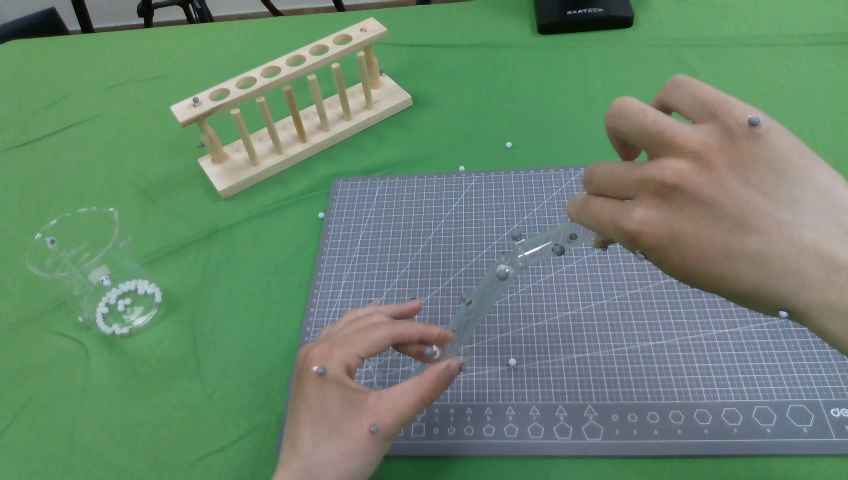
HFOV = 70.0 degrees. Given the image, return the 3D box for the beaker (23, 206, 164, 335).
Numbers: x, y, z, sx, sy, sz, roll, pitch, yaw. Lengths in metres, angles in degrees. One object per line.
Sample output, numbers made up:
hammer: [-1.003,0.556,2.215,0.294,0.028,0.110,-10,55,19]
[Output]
beaker: [-0.278,0.029,0.527,0.073,0.101,0.083,20,55,22]

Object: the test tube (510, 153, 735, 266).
test tube: [0.120,-0.019,0.360,0.150,0.017,0.017,-23,51,-9]

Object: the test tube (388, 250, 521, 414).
test tube: [0.015,0.064,0.387,0.017,0.151,0.017,25,30,-15]

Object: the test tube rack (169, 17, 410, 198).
test tube rack: [-0.138,-0.149,0.666,0.242,0.086,0.066,-30,53,-17]
